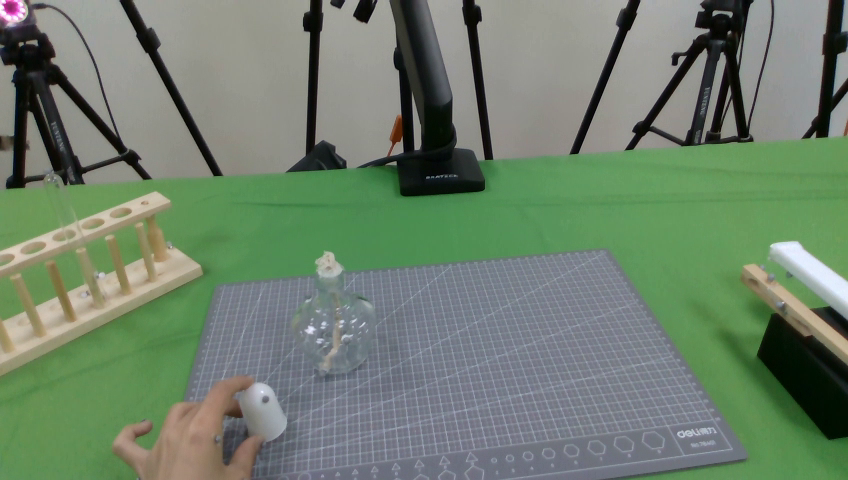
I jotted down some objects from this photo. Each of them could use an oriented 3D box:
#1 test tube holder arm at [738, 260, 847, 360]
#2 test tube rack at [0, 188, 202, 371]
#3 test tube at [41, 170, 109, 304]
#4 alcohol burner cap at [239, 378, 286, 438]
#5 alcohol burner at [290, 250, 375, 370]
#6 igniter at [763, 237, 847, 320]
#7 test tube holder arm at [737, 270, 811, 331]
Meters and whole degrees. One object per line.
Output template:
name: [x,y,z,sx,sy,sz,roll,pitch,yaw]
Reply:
test tube holder arm: [0.327,0.069,0.506,0.015,0.013,0.176,-14,33,-8]
test tube rack: [-0.358,0.038,0.609,0.066,0.086,0.242,26,42,35]
test tube: [-0.334,0.001,0.583,0.017,0.151,0.017,-1,34,1]
alcohol burner cap: [-0.133,0.133,0.491,0.034,0.048,0.033,-3,33,2]
alcohol burner: [-0.083,0.058,0.541,0.078,0.120,0.077,0,35,0]
igniter: [0.380,0.073,0.502,0.057,0.025,0.273,-6,31,-6]
test tube holder arm: [0.317,0.052,0.547,0.015,0.010,0.087,-14,32,-8]
